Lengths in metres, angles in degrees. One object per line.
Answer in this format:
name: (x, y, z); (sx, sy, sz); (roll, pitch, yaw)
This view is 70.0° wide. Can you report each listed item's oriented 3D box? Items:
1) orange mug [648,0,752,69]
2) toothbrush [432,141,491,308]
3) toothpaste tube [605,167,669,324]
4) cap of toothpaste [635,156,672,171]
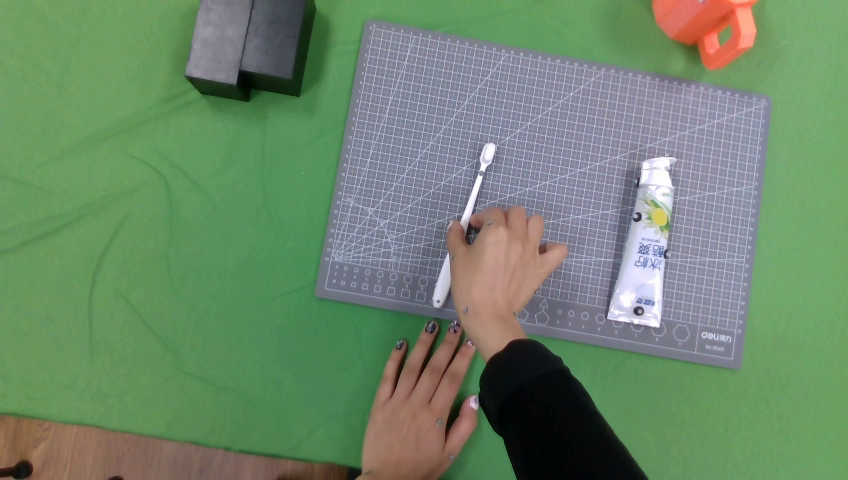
orange mug: (0.297, -0.246, 0.622); (0.083, 0.101, 0.125); (-12, 81, -4)
toothbrush: (0.039, -0.017, 0.625); (0.014, 0.016, 0.181); (18, 86, -5)
toothpaste tube: (0.226, 0.002, 0.629); (0.055, 0.034, 0.165); (8, 88, 5)
cap of toothpaste: (0.240, -0.078, 0.631); (0.037, 0.037, 0.011); (-3, 82, -4)
